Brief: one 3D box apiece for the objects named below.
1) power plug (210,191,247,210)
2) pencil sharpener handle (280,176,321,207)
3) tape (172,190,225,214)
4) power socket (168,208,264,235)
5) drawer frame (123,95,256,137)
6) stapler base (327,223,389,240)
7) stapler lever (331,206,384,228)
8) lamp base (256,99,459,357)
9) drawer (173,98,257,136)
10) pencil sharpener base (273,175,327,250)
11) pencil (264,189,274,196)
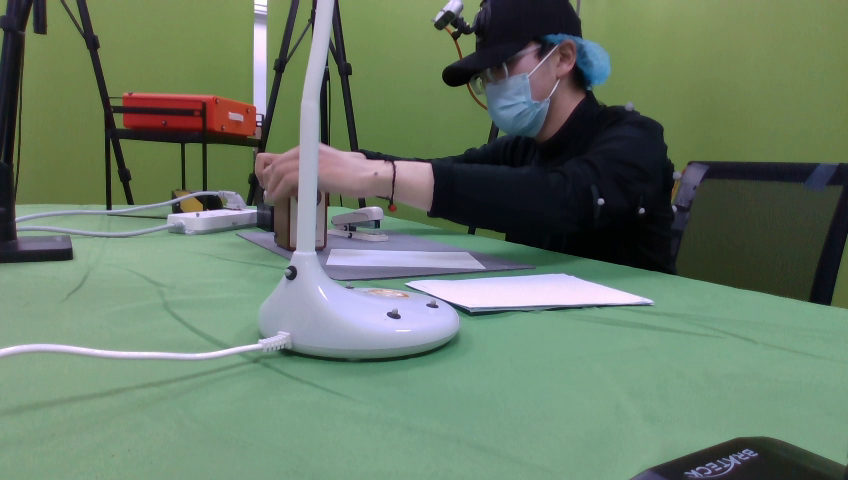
[{"bbox_3d":[-0.386,-0.072,1.204,0.072,0.052,0.035,7,9,26],"label":"power plug"},{"bbox_3d":[-0.170,-0.069,0.851,0.068,0.036,0.030,31,-8,-31],"label":"pencil sharpener handle"},{"bbox_3d":[-0.515,-0.087,1.388,0.117,0.052,0.117,3,7,0],"label":"tape"},{"bbox_3d":[-0.381,-0.038,1.129,0.072,0.032,0.227,4,8,17],"label":"power socket"},{"bbox_3d":[-0.524,-0.281,1.376,0.213,0.082,0.202,3,8,8],"label":"drawer frame"},{"bbox_3d":[-0.117,-0.018,1.073,0.130,0.024,0.041,7,8,41],"label":"stapler base"},{"bbox_3d":[-0.119,-0.043,1.070,0.117,0.040,0.027,7,8,41],"label":"stapler lever"},{"bbox_3d":[-0.055,-0.013,0.463,0.160,0.180,0.180,6,11,27],"label":"lamp base"},{"bbox_3d":[-0.518,-0.279,1.376,0.211,0.073,0.195,3,8,10],"label":"drawer"},{"bbox_3d":[-0.186,-0.042,0.906,0.061,0.107,0.076,-2,9,-30],"label":"pencil sharpener base"},{"bbox_3d":[-0.237,-0.079,0.999,0.012,0.012,0.193,-2,4,-29],"label":"pencil"}]
